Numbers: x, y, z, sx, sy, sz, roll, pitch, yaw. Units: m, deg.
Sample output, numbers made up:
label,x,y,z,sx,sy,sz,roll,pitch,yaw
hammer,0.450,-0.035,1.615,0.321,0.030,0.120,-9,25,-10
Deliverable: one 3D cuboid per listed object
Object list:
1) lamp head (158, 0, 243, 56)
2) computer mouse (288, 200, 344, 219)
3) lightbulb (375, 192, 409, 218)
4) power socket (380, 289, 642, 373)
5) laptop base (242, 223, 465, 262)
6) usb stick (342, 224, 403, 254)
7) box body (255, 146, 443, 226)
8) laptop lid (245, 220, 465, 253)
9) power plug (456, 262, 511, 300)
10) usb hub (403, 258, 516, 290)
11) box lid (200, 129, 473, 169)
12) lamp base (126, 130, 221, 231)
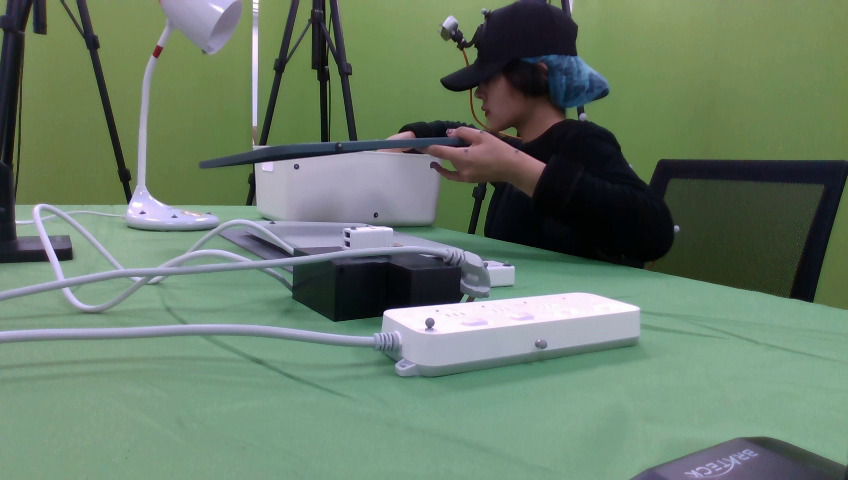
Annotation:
label,x,y,z,sx,sy,sz,roll,pitch,yaw
lamp head,-0.398,-0.397,1.057,0.123,0.112,0.112,27,5,-7
computer mouse,-0.234,-0.064,1.313,0.118,0.041,0.062,4,3,-32
lightbulb,-0.071,-0.077,1.419,0.059,0.059,0.108,7,-10,33
power socket,0.072,0.064,0.461,0.228,0.032,0.072,-2,8,-30
laptop base,-0.126,0.003,0.946,0.237,0.023,0.352,2,6,-31
usb stick,-0.047,-0.001,0.567,0.059,0.027,0.021,0,5,-32
box body,-0.168,-0.121,1.343,0.366,0.160,0.253,-2,8,-31
laptop lid,-0.124,-0.009,0.945,0.243,0.013,0.355,1,7,-29
power plug,0.051,0.050,0.543,0.035,0.052,0.072,7,37,-20
usb hub,0.042,0.038,0.690,0.126,0.025,0.049,-2,9,-29
box lid,-0.132,-0.141,0.944,0.373,0.015,0.262,-14,10,-41
lamp base,-0.469,-0.112,1.108,0.179,0.180,0.160,0,7,3
